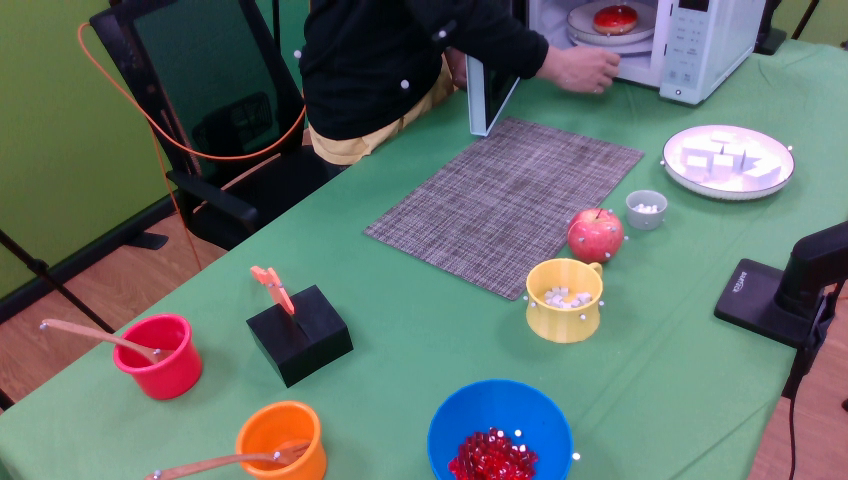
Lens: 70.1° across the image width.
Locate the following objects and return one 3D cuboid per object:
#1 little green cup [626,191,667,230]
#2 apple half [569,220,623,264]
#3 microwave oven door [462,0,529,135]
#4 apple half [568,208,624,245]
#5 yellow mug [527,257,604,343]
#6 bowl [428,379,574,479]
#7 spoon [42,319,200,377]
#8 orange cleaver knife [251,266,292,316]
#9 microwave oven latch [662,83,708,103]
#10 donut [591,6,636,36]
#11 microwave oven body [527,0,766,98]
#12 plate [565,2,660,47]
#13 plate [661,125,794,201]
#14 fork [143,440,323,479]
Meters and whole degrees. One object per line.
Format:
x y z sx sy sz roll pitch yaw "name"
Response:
0.352 -0.046 0.963 0.061 0.039 0.061 -4 40 4 "little green cup"
0.251 0.010 0.884 0.081 0.081 0.032 3 37 13 "apple half"
0.155 -0.410 1.236 0.039 0.245 0.355 10 43 19 "microwave oven door"
0.259 -0.014 0.914 0.080 0.075 0.053 0 36 15 "apple half"
0.201 0.072 0.825 0.131 0.064 0.099 -32 46 -27 "yellow mug"
0.082 0.233 0.644 0.151 0.077 0.150 -4 40 4 "bowl"
-0.385 0.135 0.779 0.195 0.021 0.041 29 37 -26 "spoon"
-0.221 0.071 0.873 0.012 0.077 0.210 -25 11 -21 "orange cleaver knife"
0.518 -0.296 1.204 0.078 0.029 0.030 28 52 35 "microwave oven latch"
0.427 -0.496 1.364 0.099 0.048 0.098 -4 40 4 "donut"
0.472 -0.513 1.317 0.438 0.261 0.327 25 51 34 "microwave oven body"
0.427 -0.487 1.377 0.209 0.038 0.208 -3 40 3 "plate"
0.513 -0.128 1.035 0.207 0.039 0.206 -4 40 4 "plate"
-0.190 0.231 0.631 0.028 0.018 0.209 38 14 37 "fork"
